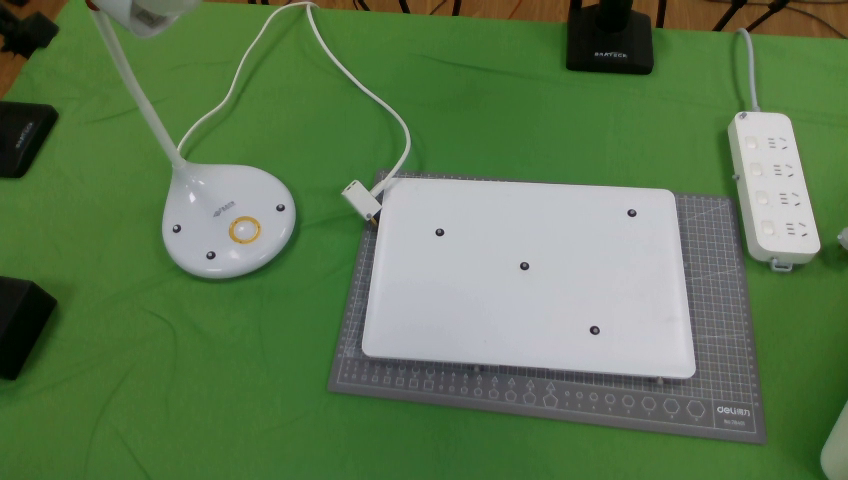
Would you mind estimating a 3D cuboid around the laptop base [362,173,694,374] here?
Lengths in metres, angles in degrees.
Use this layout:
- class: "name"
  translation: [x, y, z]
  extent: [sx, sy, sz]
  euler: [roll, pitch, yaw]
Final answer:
- class: "laptop base"
  translation: [0.117, 0.032, 0.701]
  extent: [0.354, 0.023, 0.233]
  euler: [3, 64, 4]

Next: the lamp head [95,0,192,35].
- class: "lamp head"
  translation: [-0.217, -0.221, 0.418]
  extent: [0.123, 0.112, 0.112]
  euler: [33, 64, -6]

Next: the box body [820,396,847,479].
- class: "box body"
  translation: [0.569, 0.132, 0.539]
  extent: [0.252, 0.162, 0.363]
  euler: [36, 68, 21]

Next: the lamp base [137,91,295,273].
- class: "lamp base"
  translation: [-0.254, -0.075, 0.687]
  extent: [0.178, 0.182, 0.160]
  euler: [30, 65, 22]

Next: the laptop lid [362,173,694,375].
- class: "laptop lid"
  translation: [0.116, 0.028, 0.689]
  extent: [0.356, 0.013, 0.240]
  euler: [4, 63, 5]

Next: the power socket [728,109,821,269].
- class: "power socket"
  translation: [0.422, -0.072, 0.738]
  extent: [0.072, 0.033, 0.225]
  euler: [5, 60, 4]

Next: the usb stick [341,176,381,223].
- class: "usb stick"
  translation: [-0.072, -0.047, 0.734]
  extent: [0.027, 0.059, 0.021]
  euler: [-42, 22, -10]

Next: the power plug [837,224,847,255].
- class: "power plug"
  translation: [0.506, -0.008, 0.693]
  extent: [0.073, 0.053, 0.035]
  euler: [-14, 56, -24]
